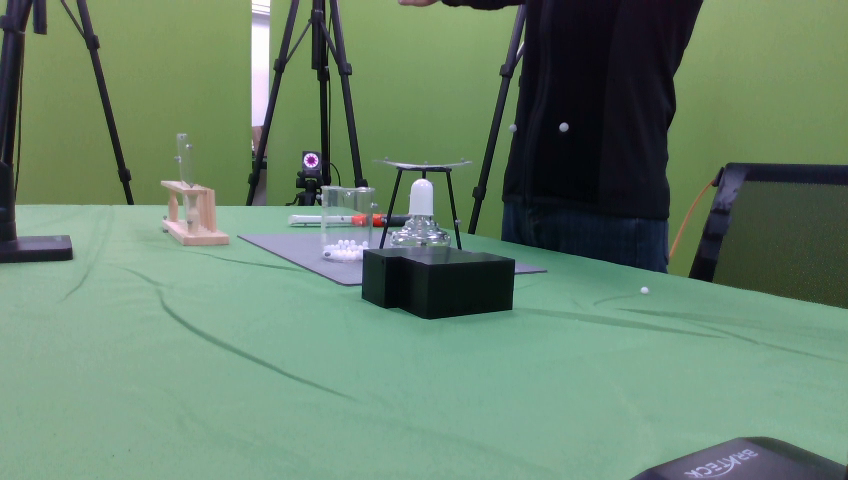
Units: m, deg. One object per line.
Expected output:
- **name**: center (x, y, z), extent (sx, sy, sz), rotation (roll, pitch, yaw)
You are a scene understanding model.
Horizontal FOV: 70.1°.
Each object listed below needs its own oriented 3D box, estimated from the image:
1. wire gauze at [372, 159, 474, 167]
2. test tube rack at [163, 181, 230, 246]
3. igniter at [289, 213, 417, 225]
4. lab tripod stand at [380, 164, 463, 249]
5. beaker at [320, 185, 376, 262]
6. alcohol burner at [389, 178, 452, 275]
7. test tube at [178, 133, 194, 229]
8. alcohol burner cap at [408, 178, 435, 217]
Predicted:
- **wire gauze**: center (-0.004, -0.122, 0.959), extent (0.122, 0.011, 0.124), rotation (-4, 9, -33)
- **test tube rack**: center (-0.387, -0.050, 1.015), extent (0.067, 0.085, 0.241), rotation (-2, 9, -30)
- **igniter**: center (-0.144, -0.044, 1.275), extent (0.278, 0.025, 0.057), rotation (-1, -1, -28)
- **lab tripod stand**: center (-0.003, -0.055, 0.967), extent (0.148, 0.131, 0.148), rotation (2, 9, 0)
- **beaker**: center (-0.105, -0.024, 0.826), extent (0.074, 0.100, 0.084), rotation (2, 7, -7)
- **alcohol burner**: center (-0.004, -0.017, 0.749), extent (0.078, 0.119, 0.078), rotation (1, 9, 0)
- **test tube**: center (-0.367, -0.089, 0.939), extent (0.017, 0.150, 0.017), rotation (-2, 8, 1)
- **alcohol burner cap**: center (-0.002, -0.053, 0.746), extent (0.034, 0.048, 0.034), rotation (3, 3, 0)
